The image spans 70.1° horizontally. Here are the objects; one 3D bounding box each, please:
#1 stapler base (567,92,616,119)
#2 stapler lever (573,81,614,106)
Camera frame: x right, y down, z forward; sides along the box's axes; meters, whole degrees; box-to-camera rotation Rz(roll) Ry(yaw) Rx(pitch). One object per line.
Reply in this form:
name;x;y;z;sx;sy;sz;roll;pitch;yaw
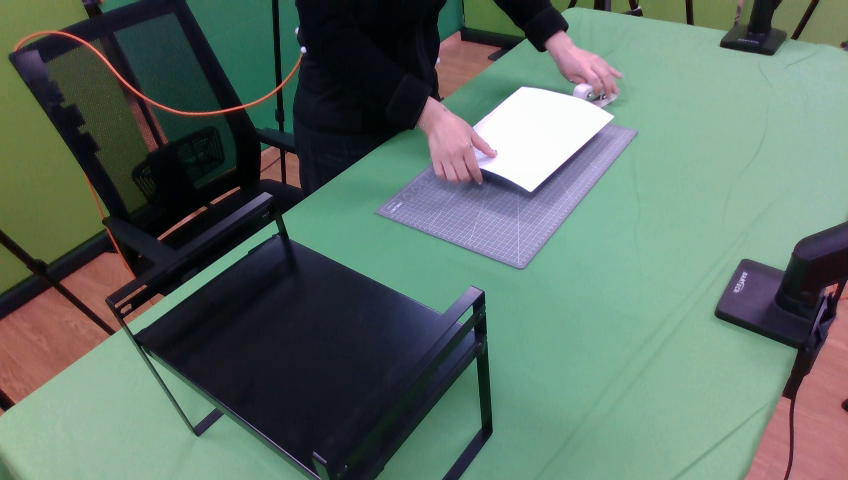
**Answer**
stapler base;0.348;-0.287;1.253;0.131;0.024;0.041;-31;49;-32
stapler lever;0.348;-0.308;1.238;0.118;0.040;0.026;-31;49;-32
